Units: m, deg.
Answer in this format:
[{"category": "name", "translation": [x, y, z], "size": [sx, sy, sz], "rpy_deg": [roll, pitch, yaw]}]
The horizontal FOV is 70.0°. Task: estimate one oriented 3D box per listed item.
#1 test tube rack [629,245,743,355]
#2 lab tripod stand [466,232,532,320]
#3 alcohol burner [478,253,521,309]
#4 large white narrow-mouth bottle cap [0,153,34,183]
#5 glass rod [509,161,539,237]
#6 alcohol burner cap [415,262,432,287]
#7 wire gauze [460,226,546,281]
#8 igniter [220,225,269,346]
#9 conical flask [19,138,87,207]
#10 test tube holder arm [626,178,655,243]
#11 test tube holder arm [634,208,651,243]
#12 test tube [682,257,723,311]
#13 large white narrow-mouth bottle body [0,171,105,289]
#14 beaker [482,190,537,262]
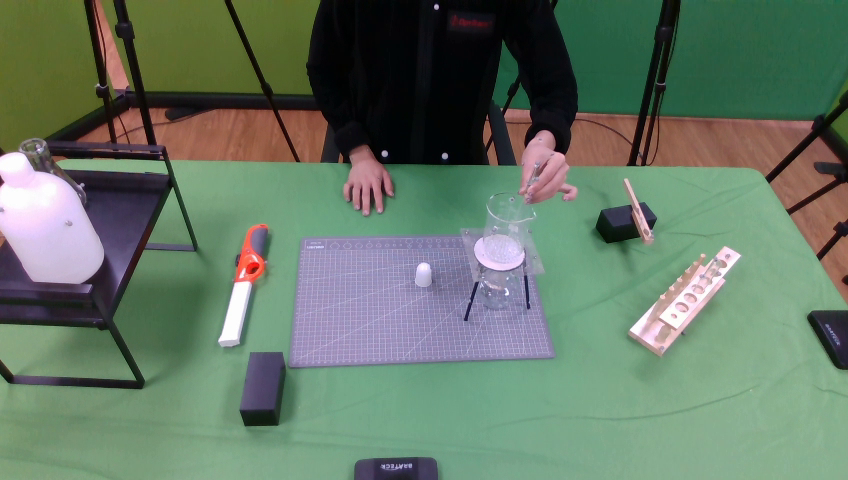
[{"category": "test tube rack", "translation": [0.474, 0.095, 1.091], "size": [0.242, 0.085, 0.066], "rpy_deg": [-34, 56, -31]}, {"category": "lab tripod stand", "translation": [0.125, 0.060, 1.065], "size": [0.148, 0.132, 0.147], "rpy_deg": [1, 45, 0]}, {"category": "alcohol burner", "translation": [0.134, 0.067, 1.072], "size": [0.078, 0.120, 0.077], "rpy_deg": [0, 47, 0]}, {"category": "large white narrow-mouth bottle cap", "translation": [-0.510, -0.090, 0.754], "size": [0.038, 0.024, 0.037], "rpy_deg": [2, 46, -2]}, {"category": "glass rod", "translation": [0.155, -0.058, 0.948], "size": [0.008, 0.200, 0.008], "rpy_deg": [2, 58, -3]}, {"category": "alcohol burner cap", "translation": [0.000, 0.061, 1.119], "size": [0.034, 0.048, 0.033], "rpy_deg": [2, 45, -2]}, {"category": "wire gauze", "translation": [0.130, 0.017, 1.016], "size": [0.121, 0.011, 0.124], "rpy_deg": [-3, 43, -9]}, {"category": "igniter", "translation": [-0.323, 0.072, 1.100], "size": [0.057, 0.025, 0.274], "rpy_deg": [-6, 46, 5]}, {"category": "conical flask", "translation": [-0.576, -0.097, 0.930], "size": [0.075, 0.122, 0.075], "rpy_deg": [2, 46, -2]}, {"category": "test tube holder arm", "translation": [0.434, -0.062, 1.220], "size": [0.013, 0.015, 0.177], "rpy_deg": [3, 47, -3]}, {"category": "test tube holder arm", "translation": [0.428, -0.030, 1.189], "size": [0.010, 0.015, 0.087], "rpy_deg": [3, 47, -3]}, {"category": "test tube", "translation": [0.475, 0.080, 1.037], "size": [0.017, 0.151, 0.017], "rpy_deg": [1, 50, -1]}, {"category": "large white narrow-mouth bottle body", "translation": [-0.513, -0.029, 0.818], "size": [0.102, 0.195, 0.101], "rpy_deg": [2, 46, -2]}, {"category": "beaker", "translation": [0.136, -0.019, 0.983], "size": [0.084, 0.101, 0.073], "rpy_deg": [17, 47, 14]}]
